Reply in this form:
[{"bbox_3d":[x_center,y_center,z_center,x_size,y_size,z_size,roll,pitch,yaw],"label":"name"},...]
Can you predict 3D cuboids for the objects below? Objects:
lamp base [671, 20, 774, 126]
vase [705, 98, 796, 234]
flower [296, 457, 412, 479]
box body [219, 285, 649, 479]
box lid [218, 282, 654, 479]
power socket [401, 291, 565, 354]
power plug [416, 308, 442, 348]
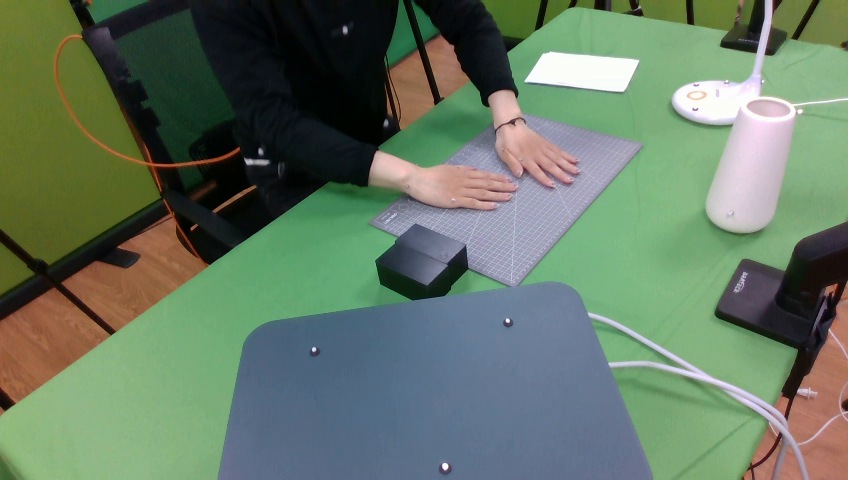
[{"bbox_3d":[0.581,-0.332,1.154,0.179,0.181,0.160,2,42,7],"label":"lamp base"},{"bbox_3d":[0.480,-0.104,0.889,0.098,0.201,0.097,-4,42,4],"label":"vase"},{"bbox_3d":[0.017,0.270,0.655,0.360,0.038,0.044,3,18,21],"label":"flower"},{"bbox_3d":[0.005,0.209,0.618,0.364,0.161,0.252,-8,40,-1],"label":"box body"},{"bbox_3d":[-0.004,0.154,0.571,0.372,0.015,0.261,-8,40,-1],"label":"box lid"},{"bbox_3d":[0.079,0.111,0.823,0.227,0.033,0.072,-5,41,1],"label":"power socket"},{"bbox_3d":[0.004,0.121,0.787,0.035,0.053,0.072,2,46,8],"label":"power plug"}]
